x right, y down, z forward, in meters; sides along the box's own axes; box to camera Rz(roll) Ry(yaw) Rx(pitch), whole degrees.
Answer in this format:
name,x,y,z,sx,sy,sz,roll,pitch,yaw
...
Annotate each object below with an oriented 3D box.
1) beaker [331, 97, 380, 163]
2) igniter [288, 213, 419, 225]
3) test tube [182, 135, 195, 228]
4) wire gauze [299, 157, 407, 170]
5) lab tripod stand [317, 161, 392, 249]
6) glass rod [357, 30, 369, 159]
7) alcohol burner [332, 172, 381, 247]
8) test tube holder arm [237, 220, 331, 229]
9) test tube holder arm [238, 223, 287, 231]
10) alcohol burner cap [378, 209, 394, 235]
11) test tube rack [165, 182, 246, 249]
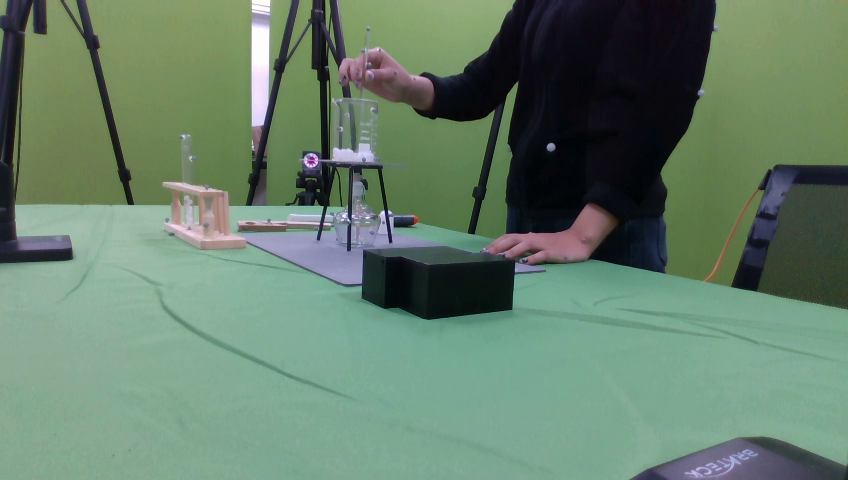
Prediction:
name,x,y,z,sx,sy,sz,roll,pitch,yaw
beaker,-0.111,-0.171,0.950,0.073,0.100,0.084,12,12,42
igniter,-0.145,-0.044,1.278,0.278,0.025,0.057,-1,-2,-21
test tube,-0.382,-0.095,0.983,0.017,0.150,0.017,-1,2,0
wire gauze,-0.112,-0.124,0.959,0.121,0.011,0.126,13,11,40
lab tripod stand,-0.111,-0.059,0.964,0.148,0.131,0.148,4,8,0
glass rod,-0.097,-0.228,0.957,0.008,0.199,0.008,5,11,-1
alcohol burner,-0.107,-0.048,0.961,0.078,0.119,0.078,1,9,0
test tube holder arm,-0.261,-0.028,1.141,0.179,0.015,0.013,-2,42,-33
test tube holder arm,-0.297,-0.024,1.113,0.088,0.015,0.010,-1,42,-32
alcohol burner cap,-0.072,-0.035,1.145,0.034,0.048,0.034,2,7,0
test tube rack,-0.360,-0.044,0.982,0.067,0.085,0.241,-3,9,-34
